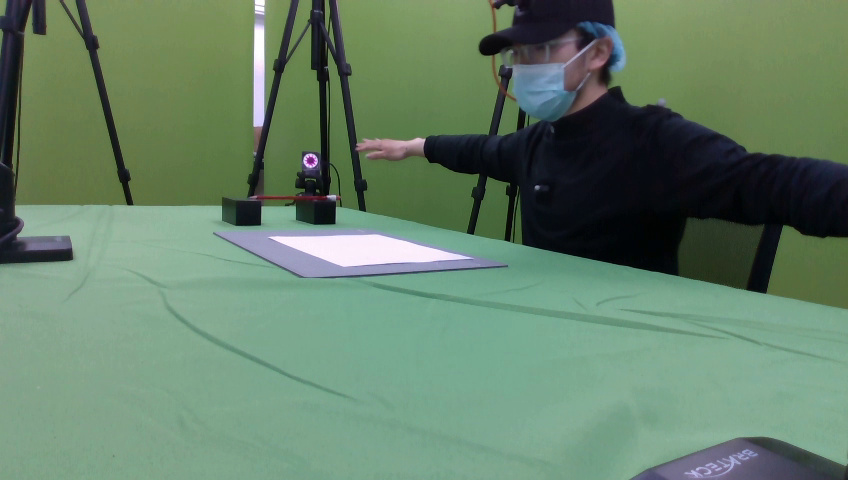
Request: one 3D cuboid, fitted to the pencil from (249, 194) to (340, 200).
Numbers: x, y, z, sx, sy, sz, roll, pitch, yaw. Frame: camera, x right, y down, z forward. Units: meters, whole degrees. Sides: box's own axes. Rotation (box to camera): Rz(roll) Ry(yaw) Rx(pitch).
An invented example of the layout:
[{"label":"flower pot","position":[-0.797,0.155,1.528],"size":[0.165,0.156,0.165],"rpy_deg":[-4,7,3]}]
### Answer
[{"label":"pencil","position":[-0.275,-0.091,1.291],"size":[0.195,0.012,0.012],"rpy_deg":[-2,9,-21]}]
